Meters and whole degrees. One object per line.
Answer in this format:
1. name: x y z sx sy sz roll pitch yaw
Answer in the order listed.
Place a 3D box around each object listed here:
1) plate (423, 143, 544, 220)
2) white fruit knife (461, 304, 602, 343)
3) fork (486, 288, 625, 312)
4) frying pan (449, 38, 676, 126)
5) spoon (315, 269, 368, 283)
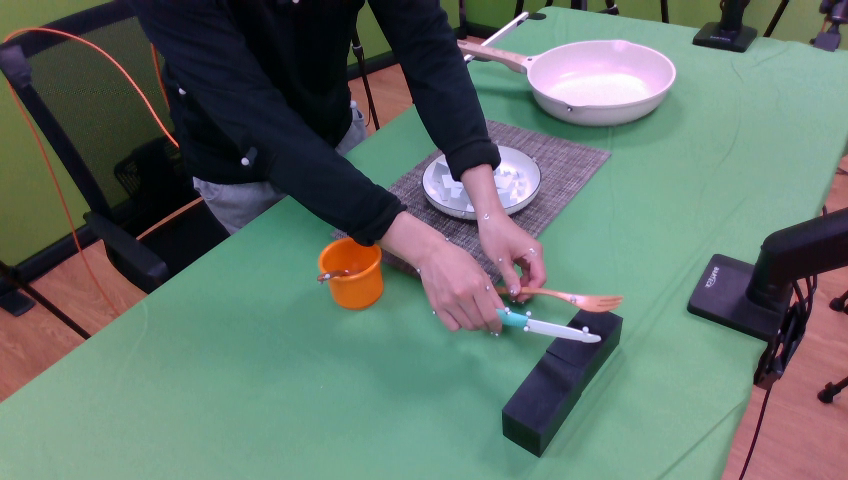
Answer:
1. plate: 0.102 -0.097 1.049 0.207 0.039 0.206 -4 40 4
2. white fruit knife: 0.123 0.101 0.732 0.205 0.027 0.016 6 44 44
3. fork: 0.161 0.075 0.784 0.205 0.019 0.028 5 25 44
4. frying pan: 0.272 -0.363 1.287 0.485 0.103 0.307 23 48 19
5. spoon: -0.116 0.048 0.831 0.041 0.194 0.021 -5 85 9
